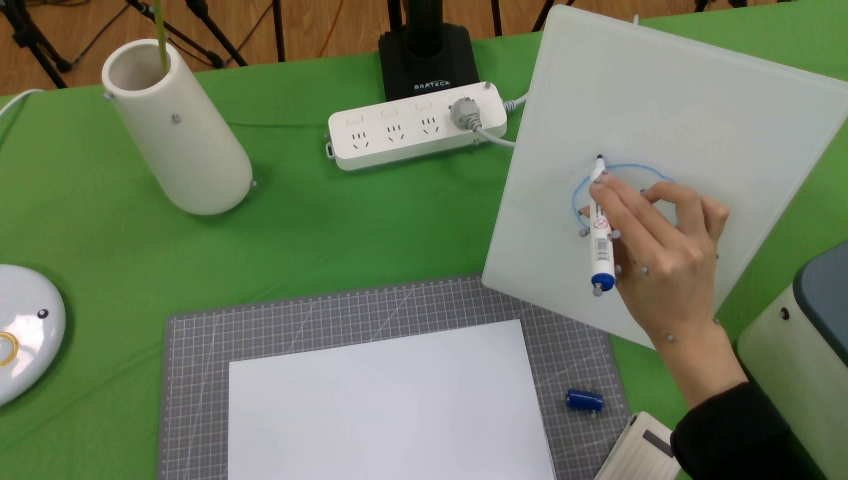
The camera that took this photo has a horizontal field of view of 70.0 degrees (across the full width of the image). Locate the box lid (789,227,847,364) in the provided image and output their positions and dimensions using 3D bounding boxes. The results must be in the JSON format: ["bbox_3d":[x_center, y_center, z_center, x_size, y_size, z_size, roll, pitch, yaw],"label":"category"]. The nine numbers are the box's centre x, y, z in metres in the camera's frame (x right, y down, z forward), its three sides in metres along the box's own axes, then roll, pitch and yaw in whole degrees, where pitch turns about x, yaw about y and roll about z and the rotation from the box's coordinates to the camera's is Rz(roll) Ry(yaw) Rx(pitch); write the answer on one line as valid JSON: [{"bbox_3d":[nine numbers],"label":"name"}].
[{"bbox_3d":[0.474,0.113,0.429,0.263,0.015,0.368,-25,66,-10],"label":"box lid"}]

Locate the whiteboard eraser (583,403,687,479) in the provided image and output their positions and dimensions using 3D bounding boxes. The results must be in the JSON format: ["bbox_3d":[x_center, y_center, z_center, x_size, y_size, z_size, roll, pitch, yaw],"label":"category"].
[{"bbox_3d":[0.182,0.206,0.539,0.055,0.042,0.112,34,69,18],"label":"whiteboard eraser"}]

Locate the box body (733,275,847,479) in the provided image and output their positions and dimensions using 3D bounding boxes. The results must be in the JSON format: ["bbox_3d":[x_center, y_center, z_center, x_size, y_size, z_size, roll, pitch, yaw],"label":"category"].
[{"bbox_3d":[0.477,0.149,0.495,0.254,0.161,0.360,-25,65,-11],"label":"box body"}]

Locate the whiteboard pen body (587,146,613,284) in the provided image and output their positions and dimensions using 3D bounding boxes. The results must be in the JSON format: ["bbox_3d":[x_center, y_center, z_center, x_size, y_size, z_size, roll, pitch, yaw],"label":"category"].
[{"bbox_3d":[0.130,-0.025,0.450,0.017,0.017,0.139,8,49,6],"label":"whiteboard pen body"}]

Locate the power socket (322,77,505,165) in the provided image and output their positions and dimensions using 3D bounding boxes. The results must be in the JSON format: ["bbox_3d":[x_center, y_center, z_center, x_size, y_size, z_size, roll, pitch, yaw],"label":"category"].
[{"bbox_3d":[-0.011,-0.143,0.725,0.227,0.033,0.071,-12,65,-5],"label":"power socket"}]

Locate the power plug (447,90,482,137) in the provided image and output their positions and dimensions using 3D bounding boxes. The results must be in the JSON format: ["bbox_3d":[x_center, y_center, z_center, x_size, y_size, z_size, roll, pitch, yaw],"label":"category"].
[{"bbox_3d":[0.045,-0.138,0.696,0.035,0.053,0.072,-3,70,0],"label":"power plug"}]

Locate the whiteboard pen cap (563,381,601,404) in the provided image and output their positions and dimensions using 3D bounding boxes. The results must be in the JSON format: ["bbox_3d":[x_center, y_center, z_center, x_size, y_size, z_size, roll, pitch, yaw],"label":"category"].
[{"bbox_3d":[0.152,0.147,0.583,0.033,0.018,0.018,10,64,3],"label":"whiteboard pen cap"}]

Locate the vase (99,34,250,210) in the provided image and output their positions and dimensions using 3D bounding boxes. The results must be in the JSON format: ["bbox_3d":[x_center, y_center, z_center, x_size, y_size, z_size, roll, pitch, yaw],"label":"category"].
[{"bbox_3d":[-0.251,-0.114,0.623,0.098,0.201,0.097,-1,63,3],"label":"vase"}]

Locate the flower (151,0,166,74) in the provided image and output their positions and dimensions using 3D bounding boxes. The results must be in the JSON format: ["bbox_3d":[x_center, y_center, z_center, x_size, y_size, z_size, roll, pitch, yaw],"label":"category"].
[{"bbox_3d":[-0.233,-0.146,0.547,0.038,0.362,0.044,40,61,1],"label":"flower"}]

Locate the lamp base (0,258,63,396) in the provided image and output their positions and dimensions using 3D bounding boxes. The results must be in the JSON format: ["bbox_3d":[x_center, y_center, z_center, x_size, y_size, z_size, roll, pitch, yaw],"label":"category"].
[{"bbox_3d":[-0.467,0.052,0.556,0.178,0.182,0.160,22,66,15],"label":"lamp base"}]

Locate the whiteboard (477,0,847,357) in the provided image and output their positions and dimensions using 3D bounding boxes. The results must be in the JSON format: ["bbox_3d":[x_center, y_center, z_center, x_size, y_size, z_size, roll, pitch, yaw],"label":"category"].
[{"bbox_3d":[0.198,-0.070,0.566,0.216,0.308,0.143,21,45,12],"label":"whiteboard"}]
